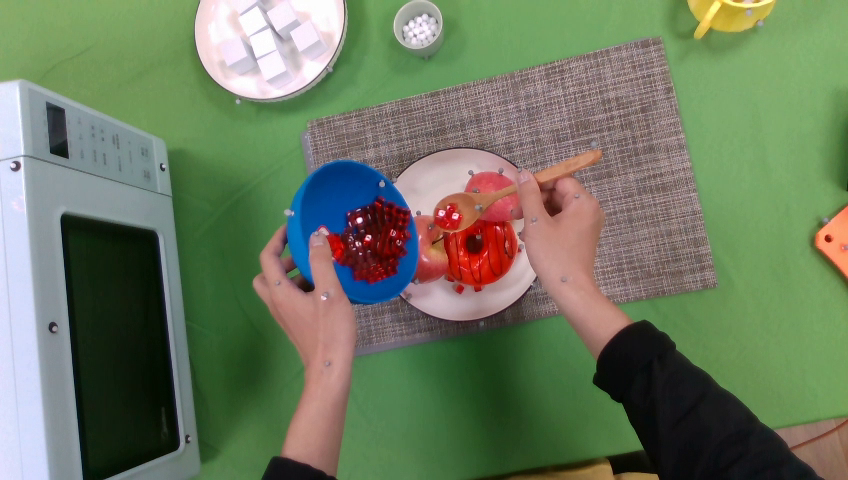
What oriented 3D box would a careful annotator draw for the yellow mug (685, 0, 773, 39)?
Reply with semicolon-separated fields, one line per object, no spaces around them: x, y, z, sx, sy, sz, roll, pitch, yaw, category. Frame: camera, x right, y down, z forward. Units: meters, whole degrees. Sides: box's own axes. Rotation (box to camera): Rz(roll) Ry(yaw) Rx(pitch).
0.343;-0.284;0.681;0.099;0.064;0.131;36;93;11;yellow mug

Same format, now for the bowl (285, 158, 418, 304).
-0.087;0.000;0.626;0.076;0.152;0.151;-21;80;43;bowl

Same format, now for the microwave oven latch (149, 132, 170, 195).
-0.353;-0.098;0.789;0.030;0.029;0.079;-9;85;9;microwave oven latch

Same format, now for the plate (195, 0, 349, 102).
-0.195;-0.278;0.794;0.207;0.039;0.207;-1;85;11;plate

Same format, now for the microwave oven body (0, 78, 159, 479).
-0.488;0.092;0.700;0.325;0.261;0.440;-10;84;9;microwave oven body

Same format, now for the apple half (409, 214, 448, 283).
-0.016;0.011;0.703;0.074;0.054;0.080;-15;80;50;apple half

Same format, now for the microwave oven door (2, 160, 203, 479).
-0.341;0.109;0.667;0.039;0.245;0.354;-10;83;9;microwave oven door

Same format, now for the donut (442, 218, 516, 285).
0.058;0.004;0.711;0.099;0.048;0.099;0;90;11;donut

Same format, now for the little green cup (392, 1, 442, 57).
-0.006;-0.261;0.758;0.061;0.039;0.061;-1;85;11;little green cup

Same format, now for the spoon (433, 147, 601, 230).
0.086;-0.051;0.603;0.193;0.022;0.041;-20;87;40;spoon

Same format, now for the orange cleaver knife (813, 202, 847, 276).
0.499;0.056;0.649;0.077;0.012;0.210;-27;80;2;orange cleaver knife

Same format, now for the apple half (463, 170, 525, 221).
0.081;-0.058;0.695;0.081;0.033;0.080;2;46;-1;apple half

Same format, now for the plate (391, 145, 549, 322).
0.044;-0.008;0.725;0.209;0.038;0.208;-1;86;11;plate
